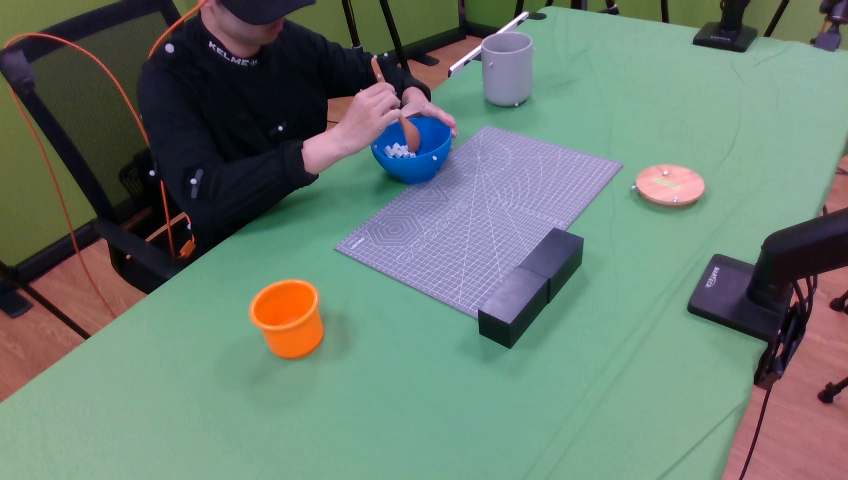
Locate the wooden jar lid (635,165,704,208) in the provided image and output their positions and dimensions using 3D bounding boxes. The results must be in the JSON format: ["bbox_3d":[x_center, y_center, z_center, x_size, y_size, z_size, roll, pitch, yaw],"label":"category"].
[{"bbox_3d":[0.410,-0.089,1.014,0.108,0.021,0.108,-5,42,5],"label":"wooden jar lid"}]

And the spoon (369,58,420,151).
[{"bbox_3d":[-0.053,-0.236,1.071,0.021,0.195,0.041,7,52,42],"label":"spoon"}]

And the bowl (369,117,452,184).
[{"bbox_3d":[-0.019,-0.155,1.107,0.151,0.077,0.150,-6,38,5],"label":"bowl"}]

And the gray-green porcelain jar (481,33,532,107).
[{"bbox_3d":[0.175,-0.355,1.278,0.106,0.127,0.105,-4,41,4],"label":"gray-green porcelain jar"}]
